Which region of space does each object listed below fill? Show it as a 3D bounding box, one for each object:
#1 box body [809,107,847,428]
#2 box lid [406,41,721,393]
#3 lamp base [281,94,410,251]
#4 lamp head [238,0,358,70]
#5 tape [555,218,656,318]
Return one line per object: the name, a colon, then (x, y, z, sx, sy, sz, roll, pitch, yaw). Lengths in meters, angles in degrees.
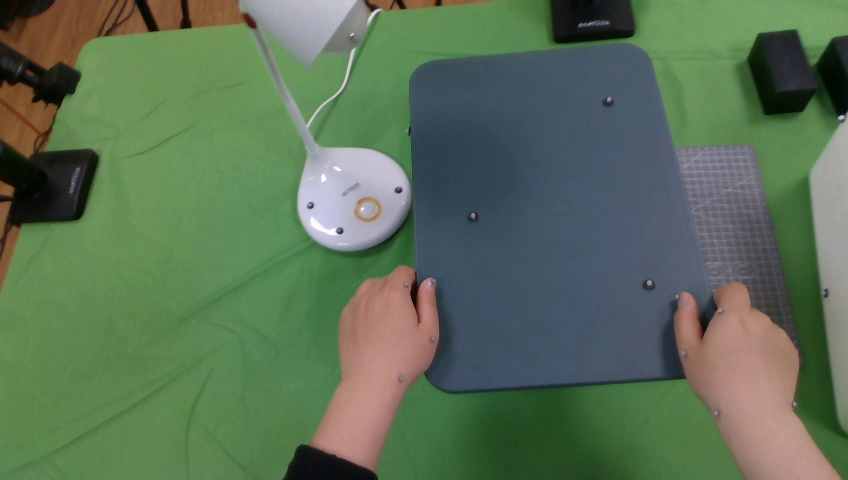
box body: (0.567, 0.029, 0.619, 0.253, 0.162, 0.361, 4, 66, 11)
box lid: (0.118, -0.044, 0.594, 0.263, 0.015, 0.368, -5, 65, 3)
lamp base: (-0.119, -0.097, 0.776, 0.178, 0.182, 0.160, 36, 75, 25)
lamp head: (-0.113, -0.220, 0.503, 0.123, 0.112, 0.112, 33, 71, -14)
tape: (0.217, 0.033, 0.731, 0.117, 0.053, 0.116, -3, 65, 7)
